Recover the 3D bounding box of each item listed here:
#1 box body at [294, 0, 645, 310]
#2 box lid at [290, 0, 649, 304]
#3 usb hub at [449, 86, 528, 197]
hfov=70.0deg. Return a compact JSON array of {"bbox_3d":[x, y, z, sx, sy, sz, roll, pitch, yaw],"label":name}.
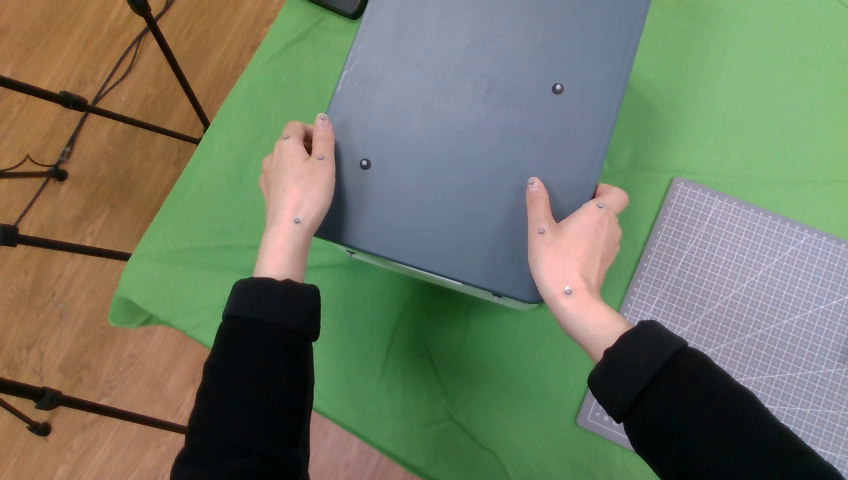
[{"bbox_3d":[0.056,-0.128,0.643,0.253,0.161,0.363,17,80,9],"label":"box body"},{"bbox_3d":[0.048,-0.143,0.571,0.262,0.015,0.370,17,80,9],"label":"box lid"},{"bbox_3d":[0.075,-0.114,0.700,0.049,0.025,0.125,23,79,12],"label":"usb hub"}]
